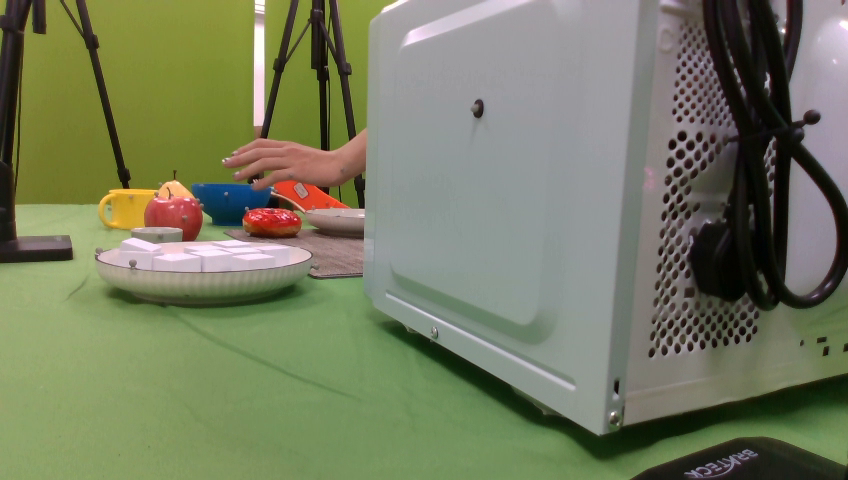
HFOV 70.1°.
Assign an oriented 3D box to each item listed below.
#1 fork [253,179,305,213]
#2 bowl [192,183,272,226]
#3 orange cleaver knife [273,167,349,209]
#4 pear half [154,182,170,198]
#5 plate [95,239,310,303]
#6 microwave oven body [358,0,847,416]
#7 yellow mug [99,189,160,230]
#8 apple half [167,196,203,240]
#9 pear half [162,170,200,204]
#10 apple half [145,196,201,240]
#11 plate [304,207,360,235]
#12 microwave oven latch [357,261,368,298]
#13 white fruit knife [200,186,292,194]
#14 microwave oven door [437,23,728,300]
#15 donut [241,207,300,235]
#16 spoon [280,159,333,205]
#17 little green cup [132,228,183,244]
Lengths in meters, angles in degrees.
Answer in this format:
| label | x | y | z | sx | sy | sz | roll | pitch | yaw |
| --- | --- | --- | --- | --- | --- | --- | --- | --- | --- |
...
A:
| label | x | y | z | sx | sy | sz | roll | pitch | yaw |
| --- | --- | --- | --- | --- | --- | --- | --- | --- | --- |
| fork | -0.294 | -0.084 | 1.293 | 0.206 | 0.018 | 0.028 | 29 | 14 | 26 |
| bowl | -0.381 | -0.071 | 1.202 | 0.151 | 0.077 | 0.151 | 3 | 7 | 0 |
| orange cleaver knife | -0.237 | -0.087 | 1.358 | 0.211 | 0.077 | 0.012 | 32 | 4 | -3 |
| pear half | -0.435 | -0.053 | 1.006 | 0.031 | 0.088 | 0.070 | 3 | 12 | 0 |
| plate | -0.224 | 0.031 | 0.629 | 0.208 | 0.039 | 0.207 | 2 | 7 | 0 |
| microwave oven body | 0.211 | -0.047 | 0.474 | 0.444 | 0.260 | 0.324 | -1 | 7 | -28 |
| yellow mug | -0.519 | -0.055 | 1.080 | 0.099 | 0.064 | 0.131 | 7 | 10 | 26 |
| apple half | -0.365 | -0.033 | 0.928 | 0.081 | 0.081 | 0.033 | 5 | 11 | 18 |
| pear half | -0.399 | -0.061 | 1.002 | 0.056 | 0.110 | 0.076 | 2 | 12 | 2 |
| apple half | -0.377 | -0.027 | 0.892 | 0.080 | 0.074 | 0.053 | 8 | 12 | 18 |
| plate | -0.123 | -0.037 | 1.149 | 0.209 | 0.038 | 0.209 | 2 | 7 | 0 |
| microwave oven latch | -0.019 | 0.033 | 0.530 | 0.079 | 0.029 | 0.030 | -1 | 7 | -26 |
| white fruit knife | -0.399 | -0.111 | 1.368 | 0.208 | 0.016 | 0.027 | -4 | -19 | -29 |
| microwave oven door | 0.180 | -0.072 | 0.621 | 0.358 | 0.243 | 0.039 | -2 | 9 | -29 |
| donut | -0.263 | -0.031 | 1.039 | 0.099 | 0.048 | 0.099 | 5 | 9 | 0 |
| spoon | -0.316 | -0.159 | 1.639 | 0.194 | 0.022 | 0.041 | -49 | 32 | -20 |
| little green cup | -0.342 | 0.006 | 0.779 | 0.061 | 0.038 | 0.061 | 2 | 8 | 0 |
